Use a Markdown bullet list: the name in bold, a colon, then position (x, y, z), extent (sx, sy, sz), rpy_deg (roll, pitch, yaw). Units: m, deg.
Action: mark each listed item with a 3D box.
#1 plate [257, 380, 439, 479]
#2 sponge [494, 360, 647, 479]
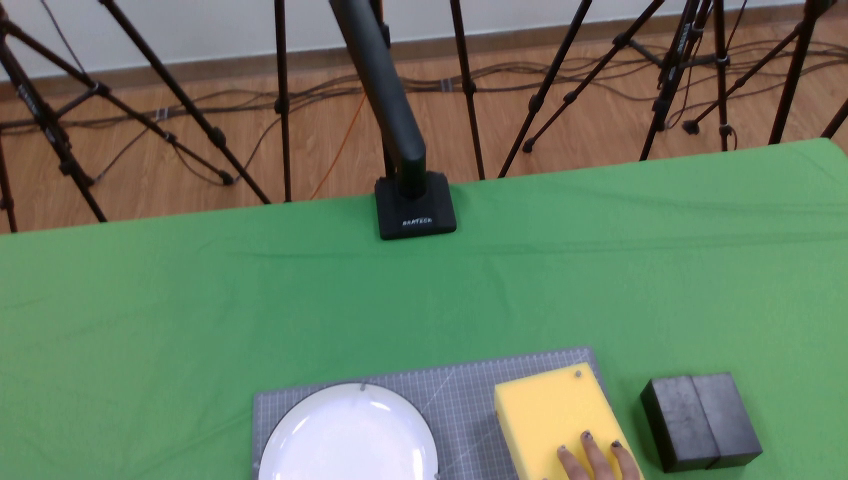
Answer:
- **plate**: position (-0.086, 0.267, 0.709), extent (0.209, 0.038, 0.207), rpy_deg (0, 54, 0)
- **sponge**: position (0.167, 0.247, 0.678), extent (0.118, 0.061, 0.204), rpy_deg (-14, 48, -7)
